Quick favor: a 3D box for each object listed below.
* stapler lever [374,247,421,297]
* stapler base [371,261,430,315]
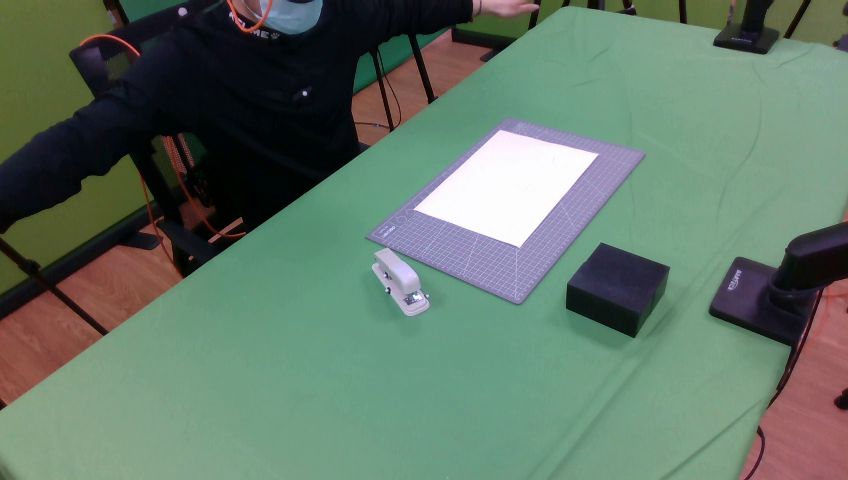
[{"bbox_3d":[-0.040,0.041,0.889,0.027,0.040,0.117,-21,40,-20],"label":"stapler lever"},{"bbox_3d":[-0.037,0.061,0.904,0.041,0.024,0.129,-21,41,-20],"label":"stapler base"}]
